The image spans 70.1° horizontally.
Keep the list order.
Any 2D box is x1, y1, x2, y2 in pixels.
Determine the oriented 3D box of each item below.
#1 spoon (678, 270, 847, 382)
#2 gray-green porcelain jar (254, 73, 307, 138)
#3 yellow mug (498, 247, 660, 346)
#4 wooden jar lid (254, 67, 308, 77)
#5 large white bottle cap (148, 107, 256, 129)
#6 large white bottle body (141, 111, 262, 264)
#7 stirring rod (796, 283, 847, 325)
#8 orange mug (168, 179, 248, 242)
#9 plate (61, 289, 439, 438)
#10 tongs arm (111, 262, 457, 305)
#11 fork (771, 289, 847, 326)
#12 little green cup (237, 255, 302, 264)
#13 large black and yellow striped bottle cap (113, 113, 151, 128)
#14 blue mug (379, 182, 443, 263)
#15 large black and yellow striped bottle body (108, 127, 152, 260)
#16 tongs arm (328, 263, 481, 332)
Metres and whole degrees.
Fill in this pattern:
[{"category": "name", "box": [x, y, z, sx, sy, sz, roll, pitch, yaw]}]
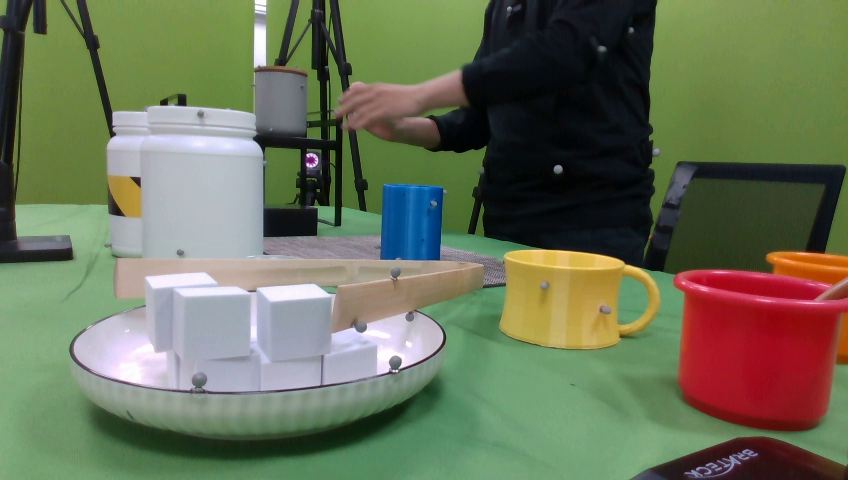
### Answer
[{"category": "spoon", "box": [0.229, 0.031, 0.338, 0.193, 0.021, 0.042, -44, -17, 27]}, {"category": "gray-green porcelain jar", "box": [-0.298, -0.277, 1.259, 0.106, 0.126, 0.106, 3, 8, 0]}, {"category": "yellow mug", "box": [0.130, 0.045, 0.508, 0.131, 0.064, 0.100, 4, 7, 6]}, {"category": "wooden jar lid", "box": [-0.296, -0.339, 1.251, 0.108, 0.020, 0.108, 2, 7, 0]}, {"category": "large white bottle cap", "box": [-0.250, -0.137, 0.686, 0.115, 0.018, 0.115, 3, 8, 0]}, {"category": "large white bottle body", "box": [-0.254, -0.053, 0.697, 0.131, 0.184, 0.130, 2, 7, 0]}, {"category": "stirring rod", "box": [0.347, 0.019, 0.460, 0.014, 0.176, 0.006, -17, 59, -26]}, {"category": "orange mug", "box": [-0.351, -0.050, 0.986, 0.126, 0.101, 0.083, -3, 8, -9]}, {"category": "plate", "box": [-0.095, 0.069, 0.362, 0.208, 0.039, 0.207, 2, 7, 0]}, {"category": "tongs arm", "box": [-0.080, 0.033, 0.527, 0.028, 0.027, 0.389, -4, -4, 33]}, {"category": "fork", "box": [0.335, 0.018, 0.443, 0.028, 0.018, 0.207, -2, -36, -20]}, {"category": "little green cup", "box": [-0.150, 0.038, 0.590, 0.061, 0.038, 0.061, 3, 6, 0]}, {"category": "large black and yellow striped bottle cap", "box": [-0.348, -0.154, 0.800, 0.115, 0.019, 0.115, 2, 6, 0]}, {"category": "blue mug", "box": [-0.020, -0.026, 0.833, 0.082, 0.106, 0.116, 1, 7, -7]}, {"category": "large black and yellow striped bottle body", "box": [-0.350, -0.071, 0.812, 0.131, 0.184, 0.130, 2, 7, 0]}, {"category": "tongs arm", "box": [-0.003, 0.036, 0.492, 0.050, 0.026, 0.386, 1, -1, 19]}]
